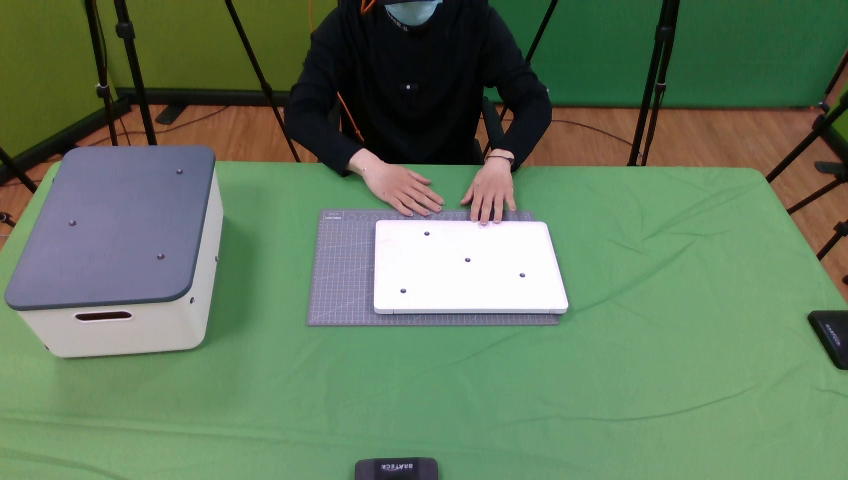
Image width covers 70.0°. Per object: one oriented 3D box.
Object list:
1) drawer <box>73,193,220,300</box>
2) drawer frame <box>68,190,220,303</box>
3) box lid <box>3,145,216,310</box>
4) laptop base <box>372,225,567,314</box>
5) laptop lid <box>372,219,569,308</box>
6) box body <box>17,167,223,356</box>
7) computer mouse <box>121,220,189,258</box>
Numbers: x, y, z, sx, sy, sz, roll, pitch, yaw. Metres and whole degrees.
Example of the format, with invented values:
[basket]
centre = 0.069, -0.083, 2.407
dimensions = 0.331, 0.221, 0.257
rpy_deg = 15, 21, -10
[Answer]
[drawer]
centre = -0.494, 0.009, 1.103
dimensions = 0.195, 0.073, 0.210
rpy_deg = 2, 45, -6
[drawer frame]
centre = -0.495, 0.008, 1.100
dimensions = 0.202, 0.083, 0.212
rpy_deg = -1, 47, -4
[box lid]
centre = -0.495, -0.040, 0.998
dimensions = 0.263, 0.015, 0.369
rpy_deg = -2, 47, -8
[laptop base]
centre = 0.080, 0.049, 1.159
dimensions = 0.355, 0.023, 0.234
rpy_deg = 0, 43, -4
[laptop lid]
centre = 0.081, 0.039, 1.152
dimensions = 0.357, 0.013, 0.240
rpy_deg = 2, 44, -3
[box body]
centre = -0.499, 0.012, 1.051
dimensions = 0.254, 0.161, 0.361
rpy_deg = -3, 47, -7
[computer mouse]
centre = -0.511, -0.003, 1.152
dimensions = 0.117, 0.041, 0.062
rpy_deg = 12, 42, -3
